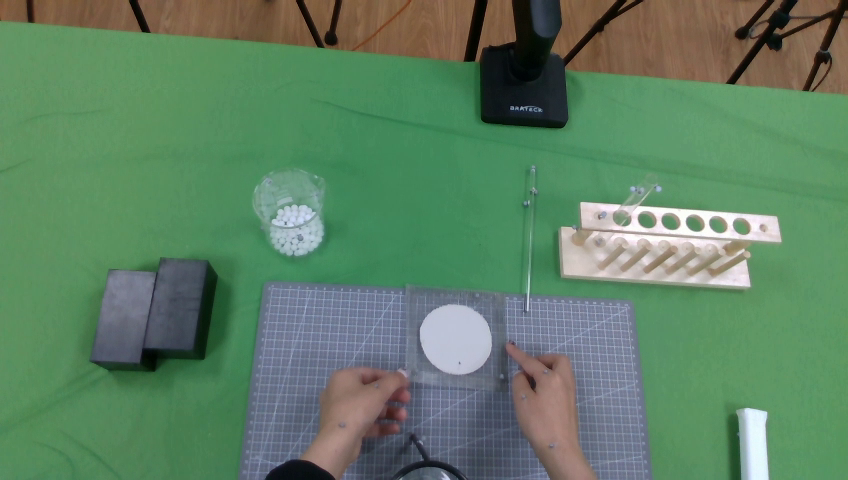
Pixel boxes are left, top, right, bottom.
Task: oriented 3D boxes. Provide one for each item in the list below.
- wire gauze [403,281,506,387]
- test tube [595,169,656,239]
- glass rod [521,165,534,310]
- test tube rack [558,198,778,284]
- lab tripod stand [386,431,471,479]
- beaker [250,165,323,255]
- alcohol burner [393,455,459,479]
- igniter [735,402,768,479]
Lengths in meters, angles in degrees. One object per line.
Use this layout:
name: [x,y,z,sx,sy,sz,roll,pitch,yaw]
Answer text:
wire gauze: [0.036,0.107,0.710,0.125,0.011,0.120,6,64,-8]
test tube: [0.228,-0.037,0.698,0.017,0.151,0.017,2,65,-4]
glass rod: [0.132,-0.007,0.768,0.008,0.008,0.198,8,69,-4]
test tube rack: [0.296,0.004,0.743,0.243,0.085,0.066,3,68,-5]
lab tripod stand: [-0.003,0.254,0.582,0.148,0.132,0.147,2,67,-4]
beaker: [-0.151,-0.032,0.696,0.084,0.101,0.073,-34,76,-19]
alcohol burner: [0.002,0.251,0.594,0.078,0.119,0.077,3,67,-7]
igniter: [0.362,0.319,0.660,0.057,0.025,0.274,14,68,-12]
